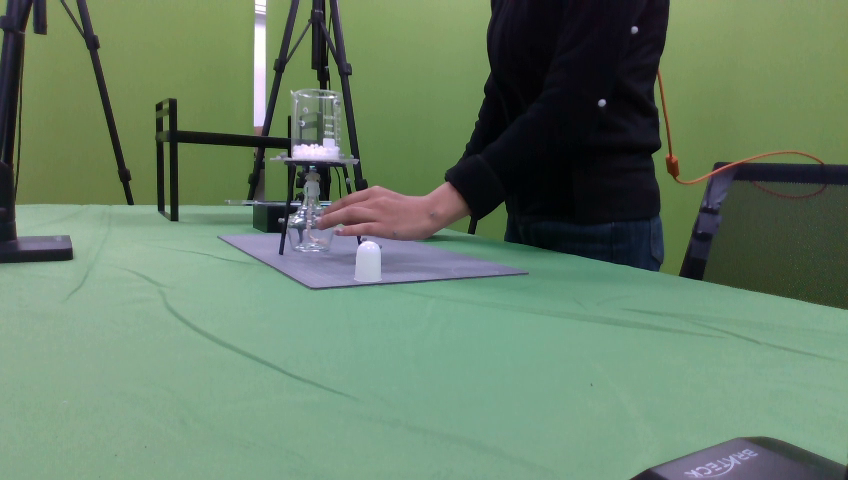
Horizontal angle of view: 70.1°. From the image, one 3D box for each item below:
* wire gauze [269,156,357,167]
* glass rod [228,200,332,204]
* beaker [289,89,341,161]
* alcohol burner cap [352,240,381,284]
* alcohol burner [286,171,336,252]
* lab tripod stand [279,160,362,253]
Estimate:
[{"bbox_3d":[-0.159,-0.116,0.886,0.122,0.011,0.125,2,4,-9],"label":"wire gauze"},{"bbox_3d":[-0.269,-0.071,1.149,0.201,0.008,0.008,-1,8,-30],"label":"glass rod"},{"bbox_3d":[-0.161,-0.164,0.879,0.073,0.100,0.084,6,8,34],"label":"beaker"},{"bbox_3d":[-0.065,0.024,0.690,0.034,0.048,0.034,3,9,0],"label":"alcohol burner cap"},{"bbox_3d":[-0.170,-0.043,0.898,0.078,0.119,0.078,2,6,0],"label":"alcohol burner"},{"bbox_3d":[-0.166,-0.052,0.896,0.148,0.131,0.148,0,7,0],"label":"lab tripod stand"}]
